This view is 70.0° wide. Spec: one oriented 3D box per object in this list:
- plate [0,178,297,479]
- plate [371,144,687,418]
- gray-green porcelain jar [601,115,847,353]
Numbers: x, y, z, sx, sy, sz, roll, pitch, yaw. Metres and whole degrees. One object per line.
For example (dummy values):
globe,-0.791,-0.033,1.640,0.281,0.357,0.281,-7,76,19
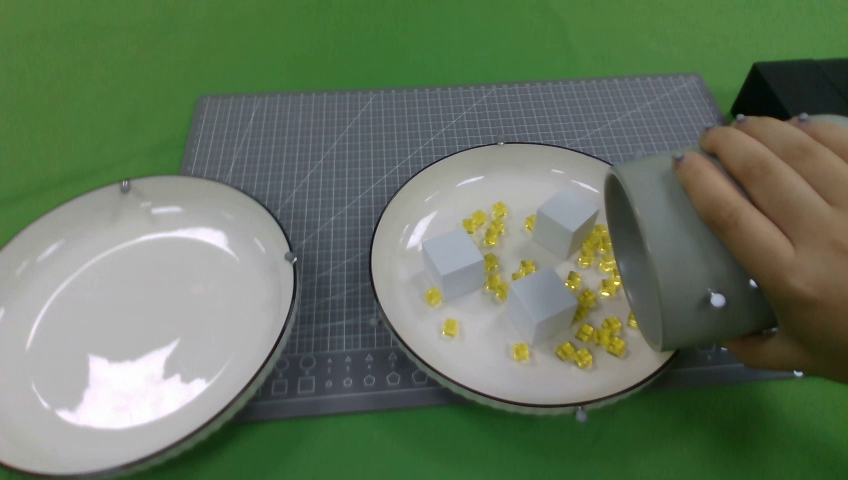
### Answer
plate,-0.181,0.048,0.380,0.209,0.038,0.207,-1,52,2
plate,0.070,0.021,0.398,0.208,0.039,0.205,0,52,0
gray-green porcelain jar,0.171,-0.004,0.324,0.126,0.107,0.104,-14,52,8
